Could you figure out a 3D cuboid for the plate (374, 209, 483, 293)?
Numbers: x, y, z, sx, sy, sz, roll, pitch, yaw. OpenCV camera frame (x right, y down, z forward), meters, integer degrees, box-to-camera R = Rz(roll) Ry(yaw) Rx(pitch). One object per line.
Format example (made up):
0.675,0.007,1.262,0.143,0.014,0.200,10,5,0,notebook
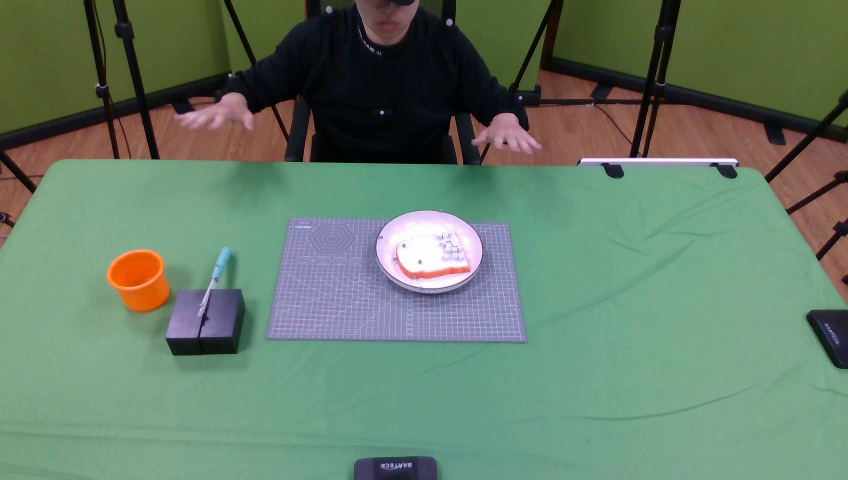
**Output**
0.009,0.024,1.160,0.209,0.038,0.208,2,46,-2,plate

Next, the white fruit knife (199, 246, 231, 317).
-0.367,0.069,1.063,0.016,0.027,0.206,0,32,-4,white fruit knife

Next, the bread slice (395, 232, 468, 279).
0.011,0.030,1.158,0.132,0.019,0.104,-8,47,-14,bread slice
